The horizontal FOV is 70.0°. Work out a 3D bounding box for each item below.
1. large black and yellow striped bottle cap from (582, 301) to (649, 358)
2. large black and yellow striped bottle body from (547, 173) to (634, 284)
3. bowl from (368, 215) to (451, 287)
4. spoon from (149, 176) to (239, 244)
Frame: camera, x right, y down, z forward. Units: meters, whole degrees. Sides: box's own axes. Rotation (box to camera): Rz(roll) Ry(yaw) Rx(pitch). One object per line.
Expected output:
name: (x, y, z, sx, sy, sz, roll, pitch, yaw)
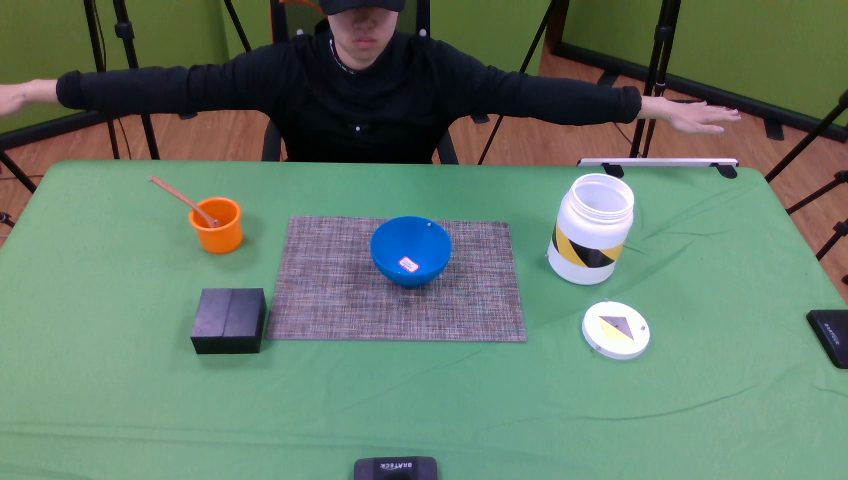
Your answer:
large black and yellow striped bottle cap: (0.340, 0.157, 1.077, 0.115, 0.019, 0.114, 1, 47, -1)
large black and yellow striped bottle body: (0.309, -0.022, 1.129, 0.131, 0.185, 0.130, 2, 46, -2)
bowl: (-0.028, 0.033, 1.120, 0.151, 0.077, 0.150, 2, 46, -2)
spoon: (-0.427, -0.057, 1.132, 0.021, 0.195, 0.041, -27, 31, 34)
